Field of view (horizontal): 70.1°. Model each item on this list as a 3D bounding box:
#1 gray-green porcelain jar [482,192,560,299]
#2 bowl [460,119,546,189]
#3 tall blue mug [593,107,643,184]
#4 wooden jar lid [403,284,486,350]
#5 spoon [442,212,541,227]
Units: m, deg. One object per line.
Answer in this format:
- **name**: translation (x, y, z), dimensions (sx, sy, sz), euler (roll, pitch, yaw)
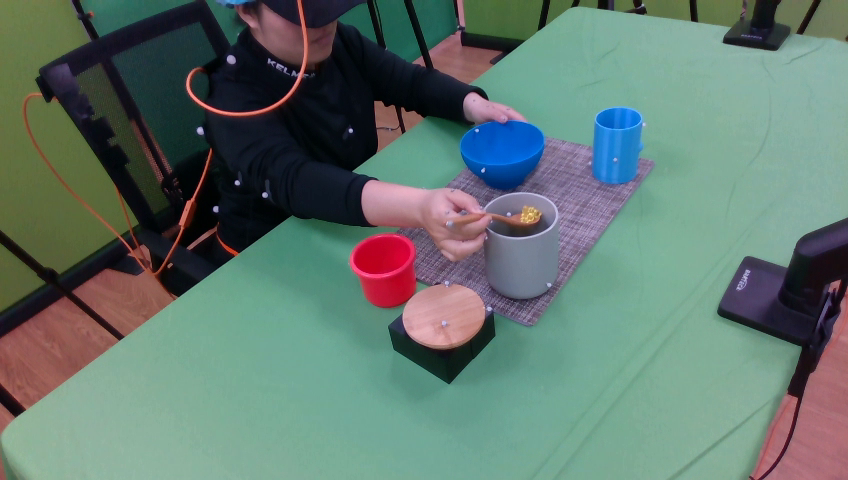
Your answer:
- **gray-green porcelain jar**: translation (0.139, 0.012, 0.858), dimensions (0.106, 0.127, 0.105), euler (-6, 40, 5)
- **bowl**: translation (0.143, -0.145, 1.081), dimensions (0.151, 0.077, 0.150), euler (-5, 40, 5)
- **tall blue mug**: translation (0.330, -0.172, 1.052), dimensions (0.078, 0.108, 0.106), euler (-12, 40, 0)
- **wooden jar lid**: translation (0.027, 0.101, 0.786), dimensions (0.108, 0.021, 0.108), euler (-5, 39, 5)
- **spoon**: translation (0.090, -0.028, 0.794), dimensions (0.195, 0.021, 0.041), euler (0, 17, -46)
